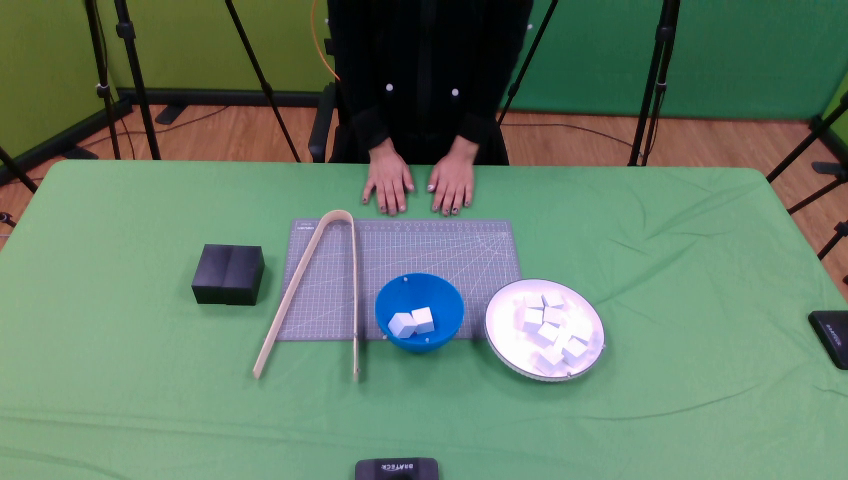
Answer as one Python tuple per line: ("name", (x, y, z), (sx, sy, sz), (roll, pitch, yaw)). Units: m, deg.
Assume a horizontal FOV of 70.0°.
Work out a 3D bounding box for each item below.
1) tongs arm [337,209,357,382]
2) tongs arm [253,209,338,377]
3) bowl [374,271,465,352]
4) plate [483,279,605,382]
("tongs arm", (-0.142, 0.083, 1.094), (0.051, 0.026, 0.382), (-2, 46, -1))
("tongs arm", (-0.227, 0.079, 1.095), (0.028, 0.028, 0.385), (5, 46, 11))
("bowl", (-0.009, 0.136, 1.024), (0.151, 0.077, 0.150), (2, 47, -2))
("plate", (0.204, 0.158, 1.046), (0.208, 0.039, 0.206), (3, 47, -3))
